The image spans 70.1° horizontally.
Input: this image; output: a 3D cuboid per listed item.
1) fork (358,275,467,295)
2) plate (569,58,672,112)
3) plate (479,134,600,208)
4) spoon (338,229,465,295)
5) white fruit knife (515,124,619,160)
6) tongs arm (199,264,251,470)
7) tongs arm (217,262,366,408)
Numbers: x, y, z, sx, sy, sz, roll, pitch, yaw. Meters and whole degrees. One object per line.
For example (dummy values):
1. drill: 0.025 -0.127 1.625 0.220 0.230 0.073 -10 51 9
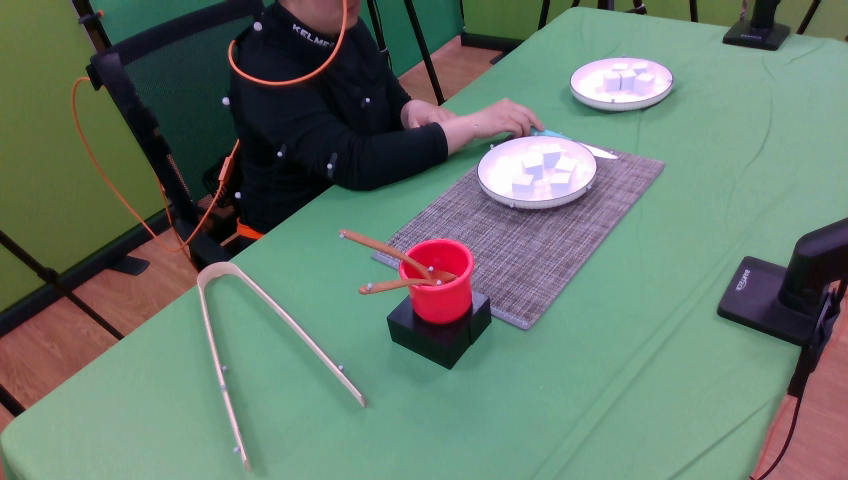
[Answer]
1. fork: -0.009 0.056 0.739 0.028 0.018 0.209 48 23 26
2. plate: 0.411 -0.323 1.274 0.209 0.038 0.208 -5 41 5
3. plate: 0.202 -0.117 1.065 0.207 0.039 0.206 -5 40 5
4. spoon: -0.025 0.026 0.776 0.021 0.195 0.041 -41 34 32
5. white fruit knife: 0.270 -0.185 1.147 0.206 0.016 0.027 24 63 27
6. tongs arm: -0.270 0.154 0.841 0.051 0.026 0.381 -23 40 -17
7. tongs arm: -0.200 0.122 0.871 0.028 0.028 0.384 -35 46 -24
